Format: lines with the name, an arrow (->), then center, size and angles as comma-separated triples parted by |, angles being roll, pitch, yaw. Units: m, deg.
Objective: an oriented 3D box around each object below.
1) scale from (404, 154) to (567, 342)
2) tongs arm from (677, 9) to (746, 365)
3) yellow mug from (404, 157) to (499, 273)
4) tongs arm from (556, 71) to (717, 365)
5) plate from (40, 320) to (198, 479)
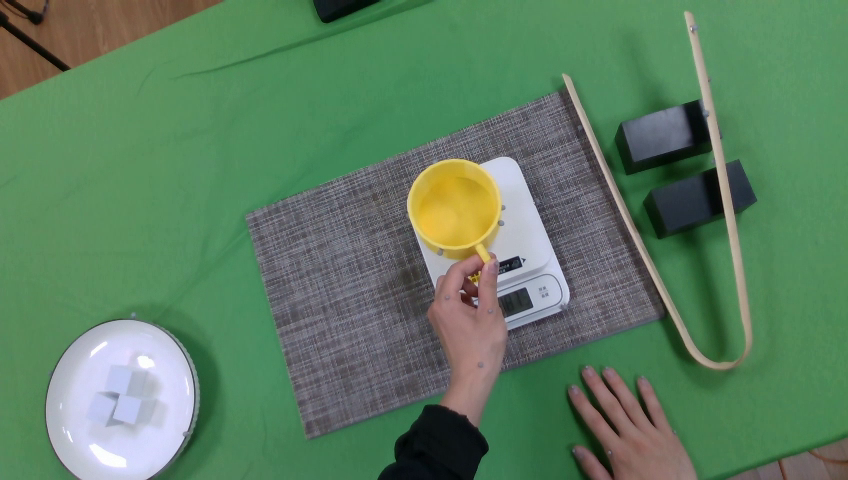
scale -> 0.070, 0.008, 0.725 | 0.148, 0.032, 0.200 | -21, 78, 6
tongs arm -> 0.301, -0.059, 0.660 | 0.050, 0.027, 0.383 | -14, 84, 34
yellow mug -> 0.040, -0.021, 0.662 | 0.100, 0.064, 0.130 | -31, 80, 0
tongs arm -> 0.239, -0.035, 0.707 | 0.028, 0.028, 0.385 | -29, 75, 28
plate -> -0.379, 0.205, 0.766 | 0.207, 0.039, 0.206 | -2, 79, 9
